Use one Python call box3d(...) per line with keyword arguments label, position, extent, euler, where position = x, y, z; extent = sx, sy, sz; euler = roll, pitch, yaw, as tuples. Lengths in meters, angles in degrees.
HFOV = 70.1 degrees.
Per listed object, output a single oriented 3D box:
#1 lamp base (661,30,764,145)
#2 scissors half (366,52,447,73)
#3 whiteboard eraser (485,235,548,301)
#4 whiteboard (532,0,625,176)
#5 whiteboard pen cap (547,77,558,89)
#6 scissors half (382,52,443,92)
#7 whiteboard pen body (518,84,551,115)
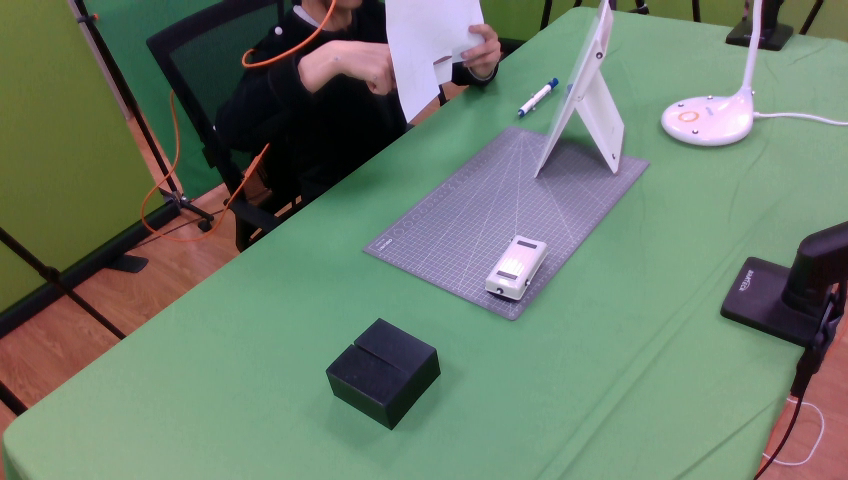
box3d(label="lamp base", position=(0.535, -0.287, 1.096), extent=(0.179, 0.181, 0.159), euler=(-10, 40, -4))
box3d(label="scissors half", position=(-0.027, -0.314, 1.058), extent=(0.176, 0.013, 0.040), euler=(-15, 65, -35))
box3d(label="whiteboard eraser", position=(0.137, 0.042, 0.887), extent=(0.055, 0.042, 0.113), euler=(15, 45, 27))
box3d(label="whiteboard", position=(0.320, -0.259, 1.050), extent=(0.144, 0.306, 0.217), euler=(21, 45, 5))
box3d(label="whiteboard pen cap", position=(0.279, -0.341, 1.321), extent=(0.018, 0.018, 0.033), euler=(22, 51, 31))
box3d(label="scissors half", position=(-0.014, -0.297, 1.054), extent=(0.040, 0.013, 0.175), euler=(44, 50, 0))
box3d(label="whiteboard pen body", position=(0.242, -0.306, 1.290), extent=(0.017, 0.017, 0.141), euler=(24, 52, 33))
